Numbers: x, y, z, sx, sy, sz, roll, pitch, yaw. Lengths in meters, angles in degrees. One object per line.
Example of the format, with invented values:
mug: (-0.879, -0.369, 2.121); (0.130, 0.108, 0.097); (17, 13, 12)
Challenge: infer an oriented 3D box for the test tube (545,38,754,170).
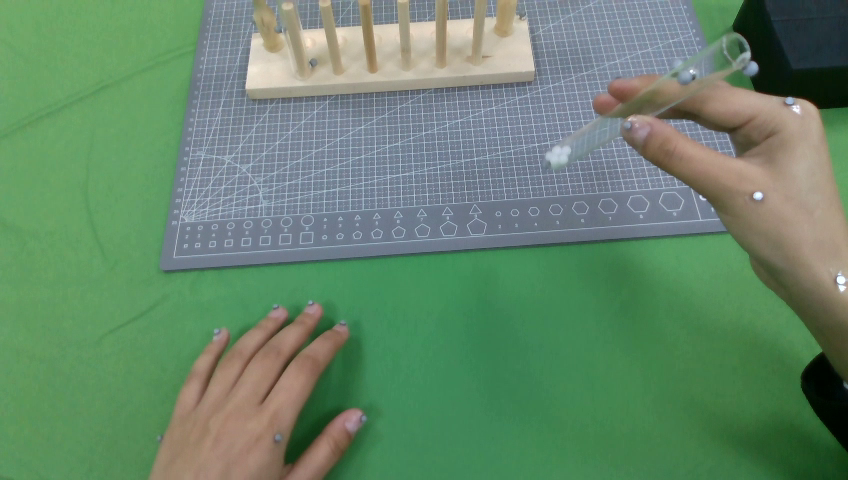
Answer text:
test tube: (0.108, -0.065, 0.322); (0.017, 0.150, 0.017); (4, 78, -20)

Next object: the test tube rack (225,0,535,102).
test tube rack: (-0.031, -0.174, 0.495); (0.242, 0.086, 0.066); (-3, 61, 1)

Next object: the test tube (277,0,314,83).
test tube: (-0.101, -0.175, 0.449); (0.017, 0.151, 0.017); (0, 60, 0)
